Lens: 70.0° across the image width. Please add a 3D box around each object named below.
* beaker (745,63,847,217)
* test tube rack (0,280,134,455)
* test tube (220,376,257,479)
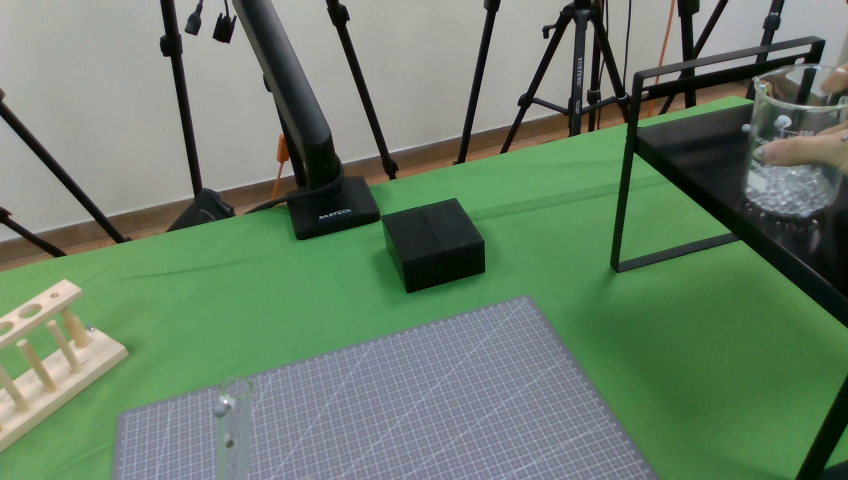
[{"bbox_3d":[0.292,-0.076,0.472,0.074,0.101,0.083,-29,40,-19],"label":"beaker"},{"bbox_3d":[-0.422,0.149,0.591,0.066,0.086,0.242,19,44,30],"label":"test tube rack"},{"bbox_3d":[-0.100,0.134,0.321,0.017,0.151,0.017,9,27,-4],"label":"test tube"}]
